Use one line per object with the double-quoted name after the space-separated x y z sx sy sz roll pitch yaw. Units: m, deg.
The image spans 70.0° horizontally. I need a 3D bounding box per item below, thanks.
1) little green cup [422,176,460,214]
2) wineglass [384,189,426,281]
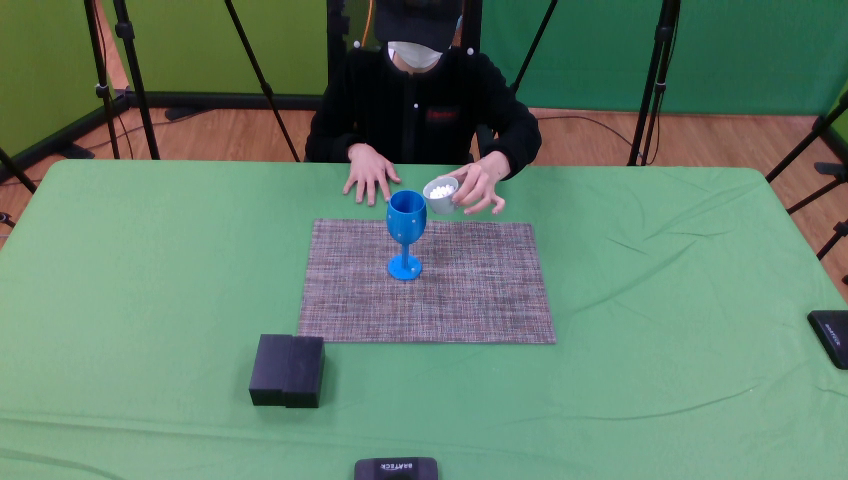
0.031 -0.073 1.009 0.061 0.039 0.061 -13 39 11 "little green cup"
-0.035 -0.006 1.091 0.074 0.173 0.073 2 46 -2 "wineglass"
